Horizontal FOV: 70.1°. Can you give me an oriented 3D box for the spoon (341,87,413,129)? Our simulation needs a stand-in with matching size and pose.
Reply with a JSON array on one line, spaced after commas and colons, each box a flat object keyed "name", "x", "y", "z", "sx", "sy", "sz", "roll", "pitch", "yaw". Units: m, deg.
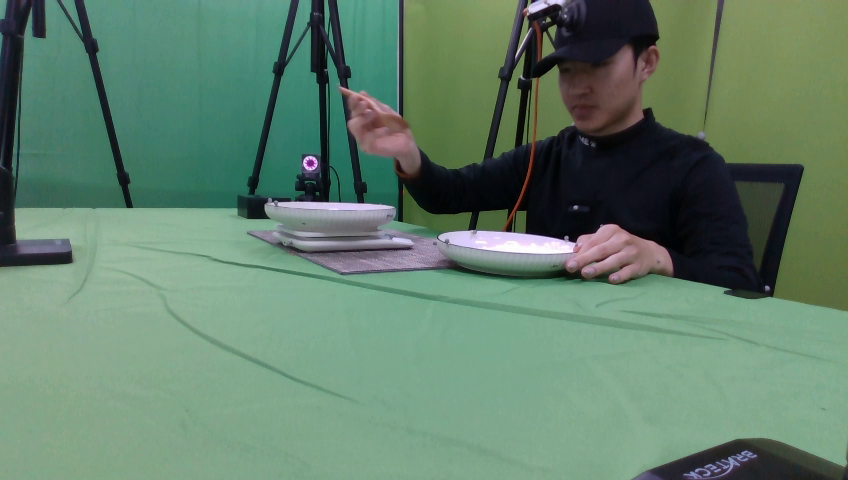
[{"name": "spoon", "x": -0.080, "y": -0.215, "z": 0.963, "sx": 0.192, "sy": 0.021, "sz": 0.042, "roll": 40, "pitch": 1, "yaw": 42}]

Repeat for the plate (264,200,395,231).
[{"name": "plate", "x": -0.150, "y": -0.040, "z": 0.972, "sx": 0.208, "sy": 0.039, "sz": 0.207, "roll": 2, "pitch": 7, "yaw": 0}]

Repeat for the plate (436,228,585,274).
[{"name": "plate", "x": 0.121, "y": 0.016, "z": 0.856, "sx": 0.209, "sy": 0.038, "sz": 0.209, "roll": 3, "pitch": 8, "yaw": 0}]

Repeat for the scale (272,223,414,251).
[{"name": "scale", "x": -0.131, "y": -0.008, "z": 0.983, "sx": 0.202, "sy": 0.031, "sz": 0.148, "roll": -2, "pitch": 8, "yaw": -32}]
